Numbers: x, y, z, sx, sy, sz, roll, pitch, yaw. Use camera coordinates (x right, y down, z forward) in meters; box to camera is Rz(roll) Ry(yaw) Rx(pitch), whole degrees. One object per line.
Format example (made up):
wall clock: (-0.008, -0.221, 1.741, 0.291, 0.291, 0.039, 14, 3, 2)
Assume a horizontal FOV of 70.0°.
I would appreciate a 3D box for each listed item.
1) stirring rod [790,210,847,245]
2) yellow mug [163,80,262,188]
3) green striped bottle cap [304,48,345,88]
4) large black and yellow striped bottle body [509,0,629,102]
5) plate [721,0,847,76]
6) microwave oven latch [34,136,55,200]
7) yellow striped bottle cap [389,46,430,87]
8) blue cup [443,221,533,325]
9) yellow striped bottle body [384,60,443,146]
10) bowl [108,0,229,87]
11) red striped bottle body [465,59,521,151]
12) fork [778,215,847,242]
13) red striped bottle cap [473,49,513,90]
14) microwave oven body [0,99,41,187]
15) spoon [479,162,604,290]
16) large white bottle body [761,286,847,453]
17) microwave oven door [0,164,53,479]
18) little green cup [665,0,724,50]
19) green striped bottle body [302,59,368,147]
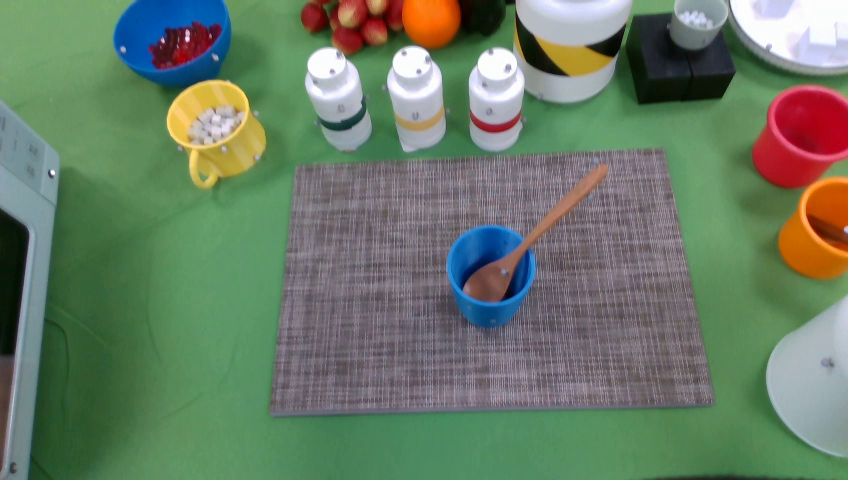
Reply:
stirring rod: (0.417, 0.001, 0.592, 0.014, 0.006, 0.175, -8, 22, -1)
yellow mug: (-0.262, -0.125, 0.744, 0.100, 0.064, 0.130, 7, 66, 7)
green striped bottle cap: (-0.111, -0.192, 0.676, 0.044, 0.020, 0.044, -1, 64, 3)
large black and yellow striped bottle body: (0.168, -0.268, 0.712, 0.131, 0.185, 0.129, -2, 65, 4)
plate: (0.487, -0.291, 0.779, 0.209, 0.038, 0.207, -2, 65, 4)
microwave oven latch: (-0.472, -0.086, 0.739, 0.030, 0.030, 0.078, -10, 65, -1)
yellow striped bottle cap: (-0.016, -0.192, 0.669, 0.044, 0.019, 0.044, -1, 66, 3)
blue cup: (0.062, 0.043, 0.616, 0.092, 0.101, 0.092, -1, 63, 2)
yellow striped bottle body: (-0.012, -0.170, 0.716, 0.063, 0.121, 0.062, -2, 64, 5)
bowl: (-0.323, -0.258, 0.804, 0.151, 0.077, 0.150, -1, 65, 3)
red striped bottle body: (0.081, -0.163, 0.706, 0.063, 0.121, 0.062, -4, 62, 8)
fork: (0.445, 0.001, 0.584, 0.028, 0.019, 0.205, -35, 23, -17)
red striped bottle cap: (0.075, -0.186, 0.659, 0.044, 0.018, 0.044, 0, 63, 0)
microwave oven body: (-0.595, 0.056, 0.574, 0.326, 0.262, 0.438, -11, 65, -1)
spoon: (0.099, -0.001, 0.573, 0.194, 0.022, 0.041, -50, 59, 30)
large white bottle body: (0.392, 0.105, 0.519, 0.130, 0.186, 0.129, -2, 64, 4)
microwave oven door: (-0.445, 0.064, 0.553, 0.039, 0.246, 0.352, -11, 64, 0)
little green cup: (0.319, -0.259, 0.721, 0.061, 0.039, 0.061, -1, 63, 3)
green striped bottle body: (-0.106, -0.169, 0.723, 0.063, 0.120, 0.062, -2, 64, 4)
